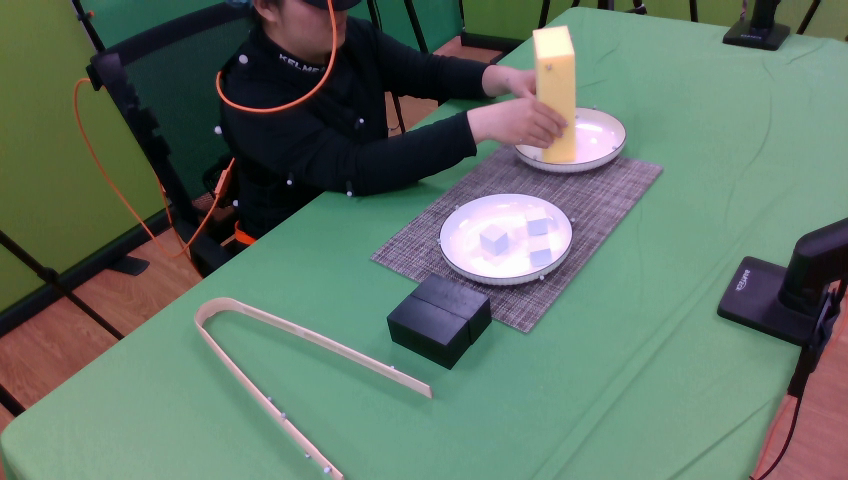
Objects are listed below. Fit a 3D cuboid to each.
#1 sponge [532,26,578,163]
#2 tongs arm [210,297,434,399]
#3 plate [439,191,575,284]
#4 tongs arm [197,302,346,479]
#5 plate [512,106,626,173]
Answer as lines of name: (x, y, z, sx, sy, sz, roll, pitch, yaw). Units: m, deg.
sponge: (0.234, -0.256, 1.078, 0.061, 0.208, 0.117, -6, 42, 10)
tongs arm: (-0.153, 0.143, 0.837, 0.385, 0.028, 0.028, 16, 49, 28)
plate: (0.129, -0.001, 0.942, 0.207, 0.039, 0.206, -5, 40, 5)
tongs arm: (-0.206, 0.185, 0.791, 0.381, 0.026, 0.051, 28, 51, 37)
plate: (0.269, -0.185, 1.132, 0.209, 0.038, 0.208, -5, 40, 5)
